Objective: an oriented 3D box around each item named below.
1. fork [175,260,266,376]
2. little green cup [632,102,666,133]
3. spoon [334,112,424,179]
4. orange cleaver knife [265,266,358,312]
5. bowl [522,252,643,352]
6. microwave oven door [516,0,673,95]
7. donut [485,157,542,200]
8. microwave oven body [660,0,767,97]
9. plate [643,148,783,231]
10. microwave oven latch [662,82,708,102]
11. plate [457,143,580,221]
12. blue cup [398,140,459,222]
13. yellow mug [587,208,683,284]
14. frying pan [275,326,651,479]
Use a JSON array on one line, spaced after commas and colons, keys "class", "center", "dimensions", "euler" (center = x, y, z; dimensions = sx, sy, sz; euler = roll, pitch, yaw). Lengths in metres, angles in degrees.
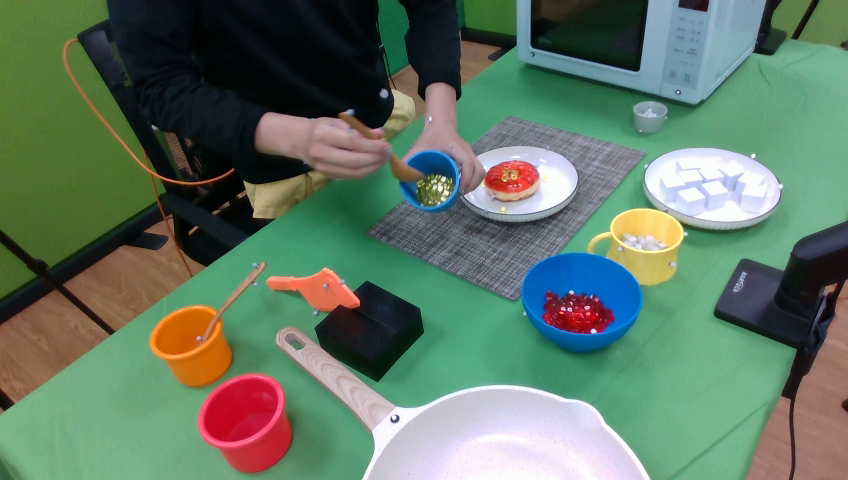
[{"class": "fork", "center": [-0.268, 0.103, 0.792], "dimensions": [0.207, 0.019, 0.028], "euler": [-51, 41, 16]}, {"class": "little green cup", "center": [0.434, -0.237, 1.171], "dimensions": [0.061, 0.039, 0.061], "euler": [-5, 40, 5]}, {"class": "spoon", "center": [-0.055, -0.113, 0.753], "dimensions": [0.041, 0.195, 0.021], "euler": [-4, 68, 27]}, {"class": "orange cleaver knife", "center": [-0.164, 0.073, 0.864], "dimensions": [0.210, 0.077, 0.012], "euler": [-6, 31, 50]}, {"class": "bowl", "center": [0.204, 0.093, 0.792], "dimensions": [0.151, 0.077, 0.150], "euler": [-4, 40, 4]}, {"class": "microwave oven door", "center": [0.344, -0.458, 1.256], "dimensions": [0.353, 0.245, 0.039], "euler": [26, 51, 33]}, {"class": "donut", "center": [0.153, -0.107, 1.039], "dimensions": [0.099, 0.048, 0.098], "euler": [-6, 38, 5]}, {"class": "microwave oven body", "center": [0.473, -0.517, 1.313], "dimensions": [0.438, 0.261, 0.327], "euler": [26, 51, 34]}, {"class": "plate", "center": [0.464, -0.080, 0.986], "dimensions": [0.207, 0.039, 0.206], "euler": [-4, 41, 4]}, {"class": "microwave oven latch", "center": [0.518, -0.298, 1.203], "dimensions": [0.078, 0.029, 0.030], "euler": [28, 53, 35]}, {"class": "plate", "center": [0.161, -0.097, 1.042], "dimensions": [0.209, 0.038, 0.208], "euler": [-4, 40, 4]}, {"class": "blue cup", "center": [0.001, -0.073, 0.862], "dimensions": [0.093, 0.100, 0.092], "euler": [3, 66, -5]}, {"class": "yellow mug", "center": [0.305, 0.009, 0.884], "dimensions": [0.131, 0.064, 0.099], "euler": [-4, 40, 5]}, {"class": "frying pan", "center": [0.003, 0.229, 0.641], "dimensions": [0.484, 0.103, 0.308], "euler": [34, 54, 28]}]
